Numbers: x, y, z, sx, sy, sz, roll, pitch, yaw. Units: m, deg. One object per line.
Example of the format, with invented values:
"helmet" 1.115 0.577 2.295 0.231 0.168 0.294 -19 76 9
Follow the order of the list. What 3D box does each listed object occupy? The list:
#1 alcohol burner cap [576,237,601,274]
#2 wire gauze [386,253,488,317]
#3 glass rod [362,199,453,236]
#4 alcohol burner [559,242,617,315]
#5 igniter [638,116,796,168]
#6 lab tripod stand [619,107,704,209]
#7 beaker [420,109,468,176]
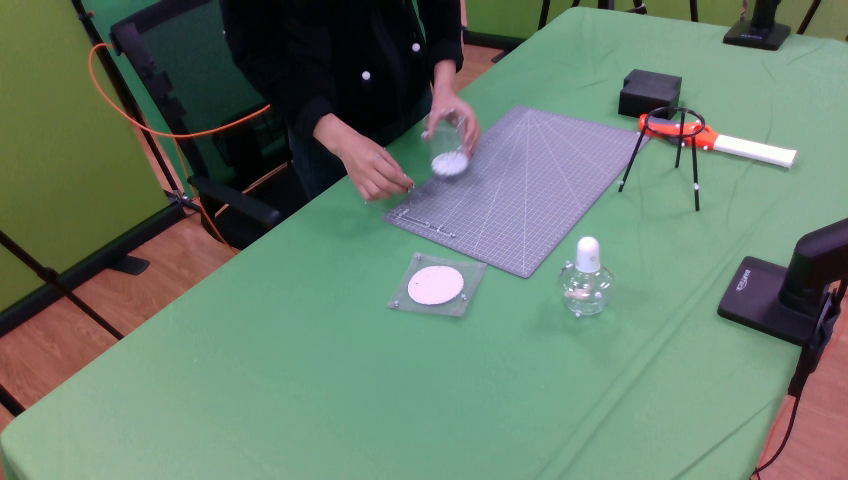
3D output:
"alcohol burner cap" 0.216 0.018 0.793 0.034 0.048 0.033 -7 35 6
"wire gauze" 0.021 0.066 0.910 0.121 0.011 0.125 9 41 20
"glass rod" -0.032 -0.041 1.041 0.198 0.008 0.008 22 50 31
"alcohol burner" 0.222 0.045 0.816 0.078 0.119 0.077 -4 42 4
"igniter" 0.517 -0.181 1.093 0.274 0.025 0.057 23 65 32
"lab tripod stand" 0.400 -0.136 0.981 0.148 0.132 0.147 -4 41 4
"beaker" 0.040 -0.169 1.066 0.074 0.101 0.083 -22 39 -16
